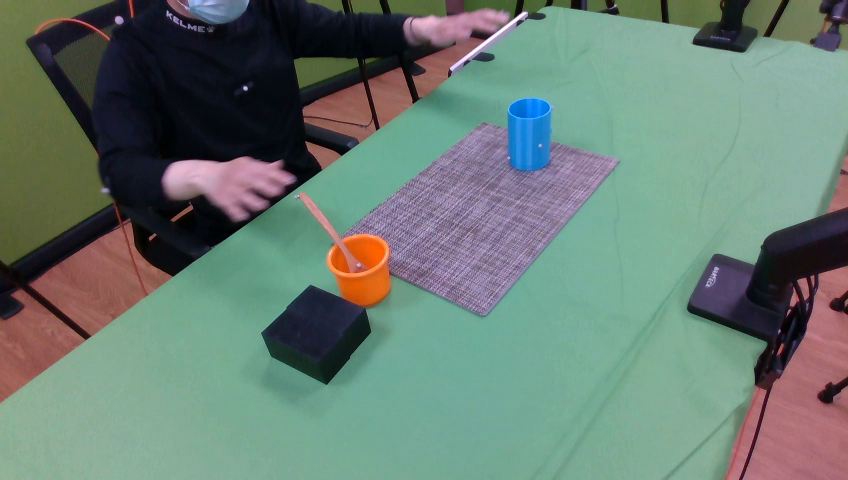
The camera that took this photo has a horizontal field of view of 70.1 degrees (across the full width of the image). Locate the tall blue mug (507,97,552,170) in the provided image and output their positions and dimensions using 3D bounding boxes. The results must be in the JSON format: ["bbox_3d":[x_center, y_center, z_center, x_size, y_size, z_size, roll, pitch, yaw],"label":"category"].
[{"bbox_3d":[0.179,-0.198,1.101,0.078,0.108,0.106,-36,49,-28],"label":"tall blue mug"}]

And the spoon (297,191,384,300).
[{"bbox_3d":[-0.124,0.006,0.882,0.042,0.194,0.021,-36,4,-25],"label":"spoon"}]
